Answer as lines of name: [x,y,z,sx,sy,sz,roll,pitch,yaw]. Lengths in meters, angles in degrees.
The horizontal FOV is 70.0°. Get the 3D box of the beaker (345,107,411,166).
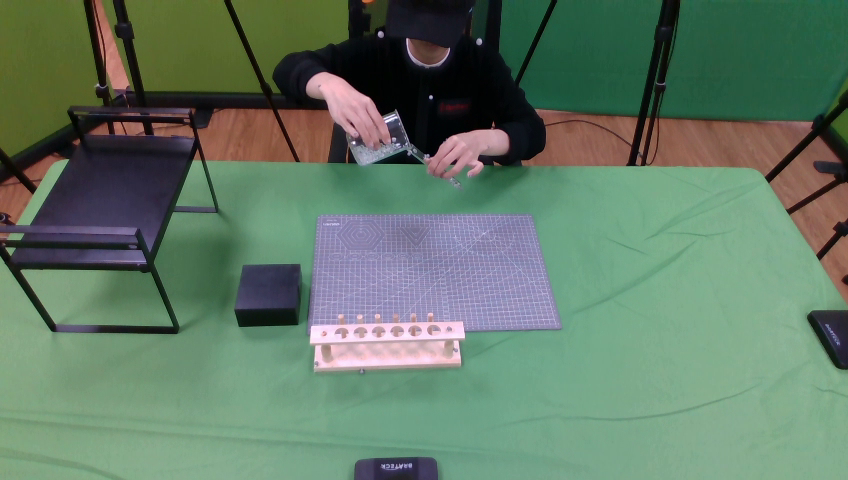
beaker: [-0.080,-0.177,1.067,0.100,0.084,0.073,-22,46,3]

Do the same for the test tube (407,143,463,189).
test tube: [0.023,-0.137,1.137,0.017,0.151,0.017,-27,46,33]

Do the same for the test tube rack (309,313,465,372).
test tube rack: [-0.059,0.161,0.990,0.242,0.085,0.066,-1,46,-5]
